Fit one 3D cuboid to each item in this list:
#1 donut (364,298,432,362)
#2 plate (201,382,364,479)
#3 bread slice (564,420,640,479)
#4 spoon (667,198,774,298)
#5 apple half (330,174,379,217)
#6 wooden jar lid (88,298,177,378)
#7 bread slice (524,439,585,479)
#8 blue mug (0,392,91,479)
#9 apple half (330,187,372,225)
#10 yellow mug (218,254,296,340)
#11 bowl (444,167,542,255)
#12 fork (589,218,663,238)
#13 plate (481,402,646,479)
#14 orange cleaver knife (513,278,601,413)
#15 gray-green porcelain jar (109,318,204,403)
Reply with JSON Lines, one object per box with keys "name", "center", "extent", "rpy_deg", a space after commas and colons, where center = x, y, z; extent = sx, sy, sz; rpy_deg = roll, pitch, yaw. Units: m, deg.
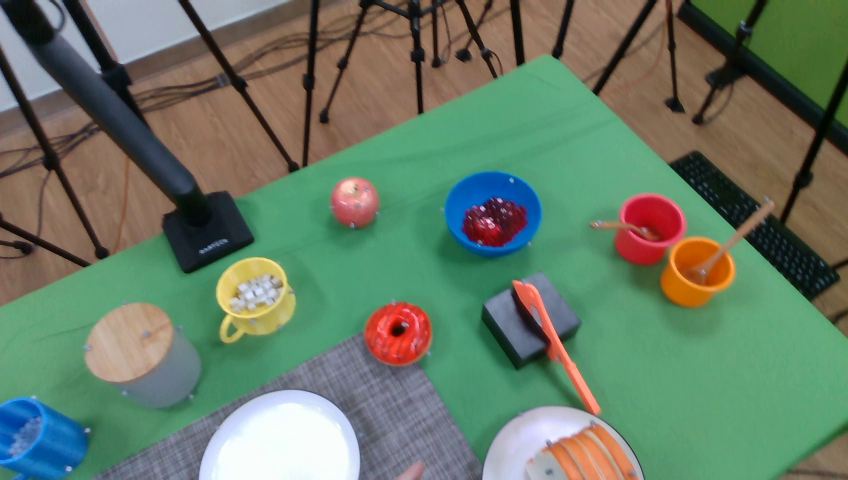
{"name": "donut", "center": [-0.038, 0.130, 0.880], "extent": [0.099, 0.048, 0.098], "rpy_deg": [0, 59, 0]}
{"name": "plate", "center": [-0.180, 0.291, 0.789], "extent": [0.208, 0.039, 0.205], "rpy_deg": [0, 59, 1]}
{"name": "bread slice", "center": [0.212, 0.279, 0.731], "extent": [0.018, 0.135, 0.106], "rpy_deg": [-19, 61, -21]}
{"name": "spoon", "center": [0.434, 0.013, 0.886], "extent": [0.022, 0.194, 0.041], "rpy_deg": [4, 41, -51]}
{"name": "apple half", "center": [-0.106, -0.075, 0.991], "extent": [0.080, 0.075, 0.053], "rpy_deg": [20, 56, 17]}
{"name": "wooden jar lid", "center": [-0.368, 0.126, 0.771], "extent": [0.108, 0.021, 0.107], "rpy_deg": [-1, 57, 2]}
{"name": "bread slice", "center": [0.160, 0.294, 0.722], "extent": [0.019, 0.132, 0.104], "rpy_deg": [-17, 60, -17]}
{"name": "blue mug", "center": [-0.507, 0.263, 0.776], "extent": [0.082, 0.107, 0.116], "rpy_deg": [29, 64, 18]}
{"name": "apple half", "center": [-0.123, -0.046, 0.972], "extent": [0.081, 0.082, 0.032], "rpy_deg": [22, 57, 14]}
{"name": "yellow mug", "center": [-0.256, 0.091, 0.899], "extent": [0.099, 0.064, 0.130], "rpy_deg": [24, 63, 15]}
{"name": "bowl", "center": [0.107, -0.032, 0.959], "extent": [0.151, 0.077, 0.150], "rpy_deg": [0, 59, 1]}
{"name": "fork", "center": [0.305, -0.021, 0.909], "extent": [0.209, 0.018, 0.028], "rpy_deg": [6, 47, -46]}
{"name": "plate", "center": [0.176, 0.314, 0.775], "extent": [0.209, 0.038, 0.207], "rpy_deg": [0, 59, 1]}
{"name": "orange cleaver knife", "center": [0.183, 0.145, 0.849], "extent": [0.012, 0.077, 0.211], "rpy_deg": [-27, 87, -15]}
{"name": "gray-green porcelain jar", "center": [-0.367, 0.159, 0.825], "extent": [0.106, 0.127, 0.105], "rpy_deg": [0, 59, 1]}
